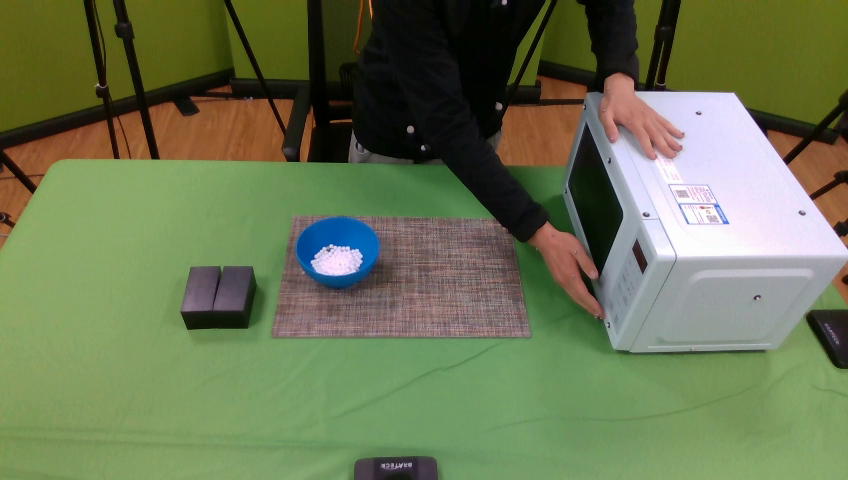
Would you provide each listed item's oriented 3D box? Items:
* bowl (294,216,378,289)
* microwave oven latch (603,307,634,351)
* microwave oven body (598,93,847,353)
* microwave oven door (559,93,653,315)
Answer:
[{"bbox_3d":[-0.158,0.036,1.110,0.151,0.077,0.150,3,45,-2],"label":"bowl"},{"bbox_3d":[0.332,0.153,1.044,0.030,0.029,0.078,0,45,-3],"label":"microwave oven latch"},{"bbox_3d":[0.475,-0.041,1.109,0.326,0.261,0.438,-1,45,-4],"label":"microwave oven body"},{"bbox_3d":[0.327,-0.074,1.123,0.039,0.245,0.353,-1,46,-5],"label":"microwave oven door"}]
